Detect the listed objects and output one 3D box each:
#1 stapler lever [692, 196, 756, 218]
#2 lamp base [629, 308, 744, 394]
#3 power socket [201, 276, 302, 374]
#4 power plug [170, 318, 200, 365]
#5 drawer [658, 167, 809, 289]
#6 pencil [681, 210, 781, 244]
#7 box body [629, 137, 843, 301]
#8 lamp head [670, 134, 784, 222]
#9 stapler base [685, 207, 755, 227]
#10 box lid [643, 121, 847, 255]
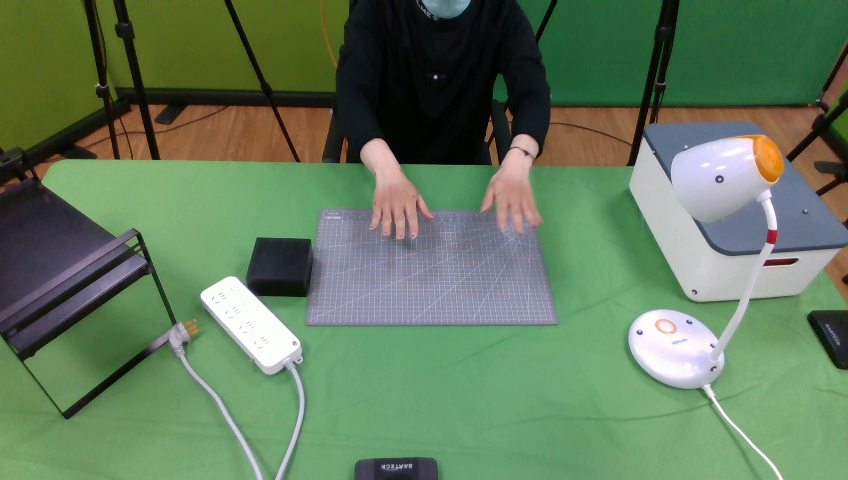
[{"bbox_3d":[0.588,-0.065,1.185,0.118,0.040,0.026,2,58,12],"label":"stapler lever"},{"bbox_3d":[0.446,0.139,0.987,0.161,0.181,0.178,-19,53,-20],"label":"lamp base"},{"bbox_3d":[-0.297,0.141,1.034,0.072,0.033,0.225,-34,58,-30],"label":"power socket"},{"bbox_3d":[-0.392,0.167,1.013,0.052,0.035,0.072,-31,89,-23],"label":"power plug"},{"bbox_3d":[0.583,-0.024,1.164,0.194,0.073,0.210,-11,55,3],"label":"drawer"},{"bbox_3d":[0.599,-0.027,1.186,0.194,0.012,0.012,19,48,10],"label":"pencil"},{"bbox_3d":[0.593,-0.062,1.202,0.254,0.161,0.361,-4,47,-7],"label":"box body"},{"bbox_3d":[0.422,-0.089,0.829,0.113,0.123,0.112,8,74,-32],"label":"lamp head"},{"bbox_3d":[0.590,-0.051,1.205,0.130,0.024,0.041,3,58,11],"label":"stapler base"},{"bbox_3d":[0.596,-0.115,1.150,0.263,0.015,0.369,-3,46,-7],"label":"box lid"}]
